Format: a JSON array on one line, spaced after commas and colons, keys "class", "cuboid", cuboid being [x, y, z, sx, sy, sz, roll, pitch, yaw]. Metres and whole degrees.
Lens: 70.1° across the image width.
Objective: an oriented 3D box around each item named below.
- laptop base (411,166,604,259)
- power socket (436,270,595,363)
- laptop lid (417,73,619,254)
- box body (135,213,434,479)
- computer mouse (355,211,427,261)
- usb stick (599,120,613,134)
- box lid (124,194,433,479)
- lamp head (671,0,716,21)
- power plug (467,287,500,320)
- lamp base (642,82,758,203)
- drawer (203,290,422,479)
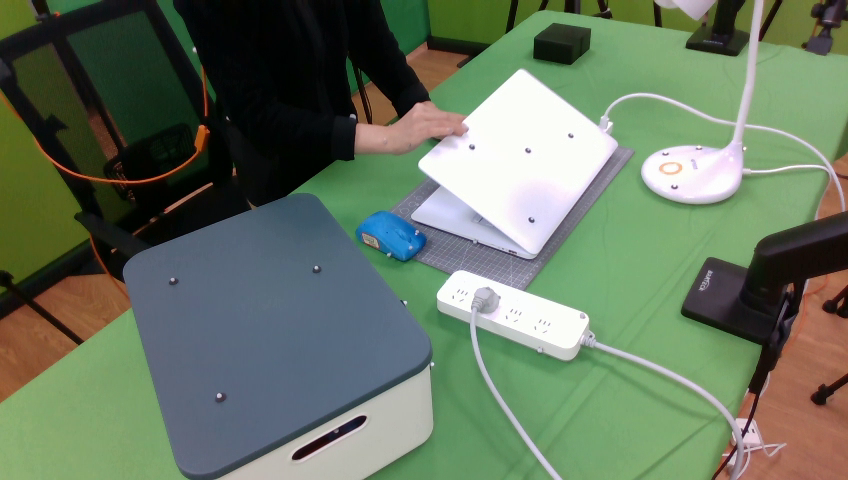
[{"class": "laptop base", "cuboid": [0.167, -0.101, 1.074, 0.234, 0.023, 0.355, 17, 46, 30]}, {"class": "power socket", "cuboid": [0.118, 0.101, 0.832, 0.225, 0.033, 0.072, 19, 48, 27]}, {"class": "laptop lid", "cuboid": [0.173, -0.148, 1.023, 0.241, 0.013, 0.357, 39, 53, 9]}, {"class": "box body", "cuboid": [-0.175, 0.131, 0.738, 0.255, 0.161, 0.360, -25, 43, -19]}, {"class": "computer mouse", "cuboid": [-0.055, -0.010, 0.980, 0.116, 0.041, 0.063, 27, 49, 29]}, {"class": "usb stick", "cuboid": [0.337, -0.201, 1.146, 0.021, 0.027, 0.059, 25, 52, 26]}, {"class": "box lid", "cuboid": [-0.182, 0.076, 0.689, 0.264, 0.015, 0.368, -24, 42, -20]}, {"class": "lamp head", "cuboid": [0.375, -0.373, 0.807, 0.122, 0.113, 0.112, -40, 27, 32]}, {"class": "power plug", "cuboid": [0.073, 0.092, 0.814, 0.035, 0.053, 0.073, 29, 54, 35]}, {"class": "lamp base", "cuboid": [0.464, -0.174, 0.992, 0.179, 0.181, 0.159, -5, 41, -1]}, {"class": "drawer", "cuboid": [-0.136, 0.188, 0.740, 0.195, 0.073, 0.210, -24, 52, -22]}]
